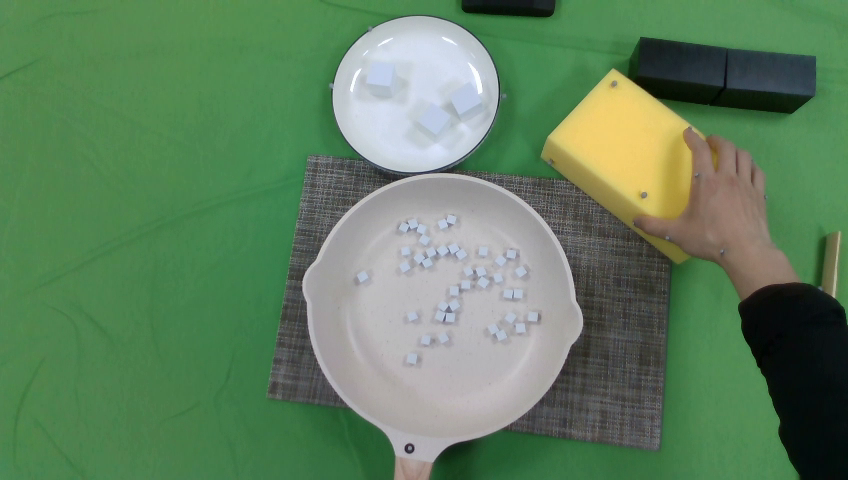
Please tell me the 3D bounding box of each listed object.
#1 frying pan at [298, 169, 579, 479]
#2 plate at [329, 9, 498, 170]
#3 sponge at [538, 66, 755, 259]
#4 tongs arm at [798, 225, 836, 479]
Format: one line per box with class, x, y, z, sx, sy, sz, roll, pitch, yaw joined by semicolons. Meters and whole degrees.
frying pan;-0.004;0.165;0.649;0.306;0.103;0.485;9;72;6
plate;-0.013;-0.183;0.753;0.207;0.039;0.206;-1;79;3
sponge;0.252;-0.090;0.704;0.206;0.061;0.118;40;80;11
tongs arm;0.436;0.172;0.666;0.028;0.028;0.386;9;80;3
